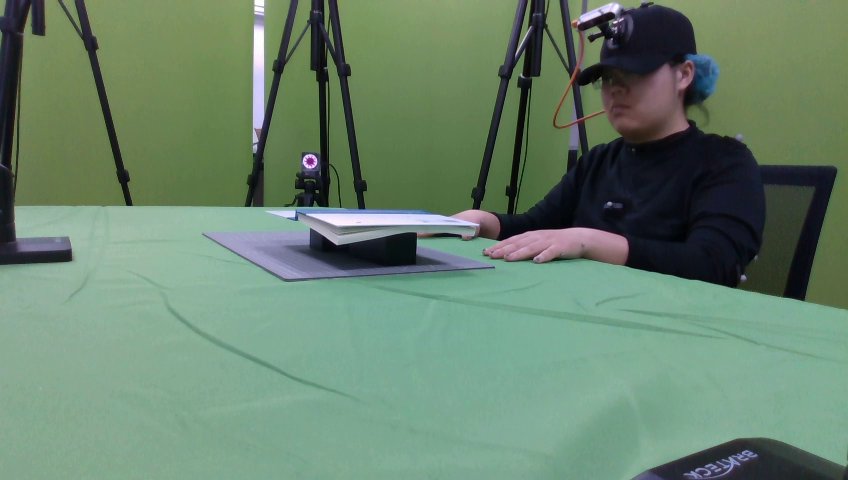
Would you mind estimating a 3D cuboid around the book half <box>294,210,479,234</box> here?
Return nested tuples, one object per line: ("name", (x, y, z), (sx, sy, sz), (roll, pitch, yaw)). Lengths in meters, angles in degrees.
("book half", (-0.051, -0.025, 0.823), (0.211, 0.016, 0.148), (-1, 9, -32))

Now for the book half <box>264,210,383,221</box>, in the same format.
("book half", (-0.125, -0.038, 0.944), (0.211, 0.007, 0.142), (-2, 8, -32))
